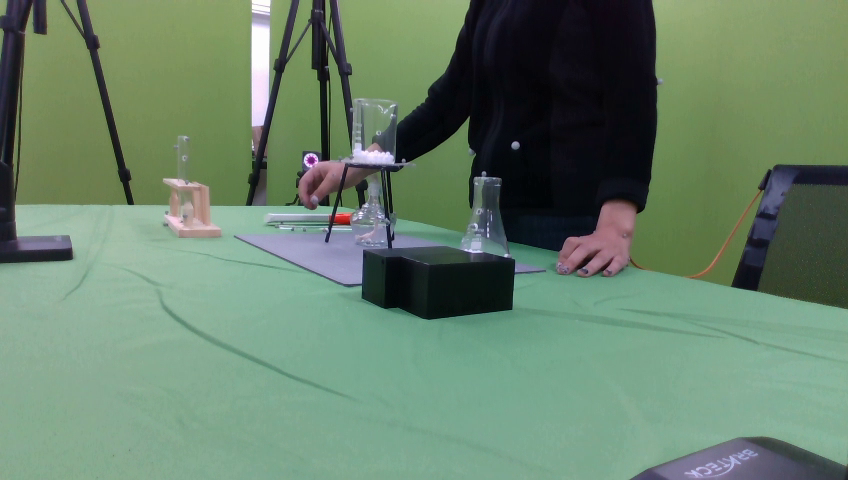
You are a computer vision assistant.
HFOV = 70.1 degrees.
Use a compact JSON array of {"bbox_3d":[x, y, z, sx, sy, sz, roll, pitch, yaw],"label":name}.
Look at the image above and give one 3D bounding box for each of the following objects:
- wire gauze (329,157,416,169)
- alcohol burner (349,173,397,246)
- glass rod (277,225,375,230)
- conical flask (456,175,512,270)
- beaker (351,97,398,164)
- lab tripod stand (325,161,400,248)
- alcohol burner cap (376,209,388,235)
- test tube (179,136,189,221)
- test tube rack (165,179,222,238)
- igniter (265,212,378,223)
[{"bbox_3d":[-0.079,-0.125,0.972,0.121,0.011,0.125,6,6,5],"label":"wire gauze"},{"bbox_3d":[-0.081,-0.050,0.982,0.078,0.119,0.078,4,8,0],"label":"alcohol burner"},{"bbox_3d":[-0.187,-0.024,1.178,0.201,0.008,0.008,1,7,-31],"label":"glass rod"},{"bbox_3d":[0.082,-0.025,0.801,0.075,0.122,0.075,2,7,0],"label":"conical flask"},{"bbox_3d":[-0.078,-0.172,0.962,0.074,0.100,0.084,6,8,19],"label":"beaker"},{"bbox_3d":[-0.083,-0.059,0.977,0.148,0.131,0.148,4,8,0],"label":"lab tripod stand"},{"bbox_3d":[-0.076,-0.035,1.144,0.034,0.048,0.034,-1,6,0],"label":"alcohol burner cap"},{"bbox_3d":[-0.425,-0.108,1.070,0.017,0.150,0.017,4,9,0],"label":"test tube"},{"bbox_3d":[-0.423,-0.062,1.098,0.067,0.085,0.241,-2,9,-28],"label":"test tube rack"},{"bbox_3d":[-0.195,-0.048,1.285,0.278,0.025,0.057,-2,-2,-30],"label":"igniter"}]
